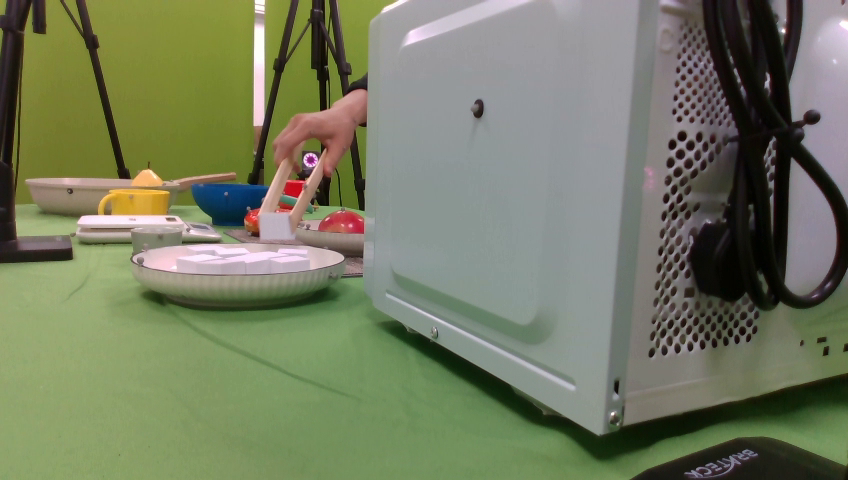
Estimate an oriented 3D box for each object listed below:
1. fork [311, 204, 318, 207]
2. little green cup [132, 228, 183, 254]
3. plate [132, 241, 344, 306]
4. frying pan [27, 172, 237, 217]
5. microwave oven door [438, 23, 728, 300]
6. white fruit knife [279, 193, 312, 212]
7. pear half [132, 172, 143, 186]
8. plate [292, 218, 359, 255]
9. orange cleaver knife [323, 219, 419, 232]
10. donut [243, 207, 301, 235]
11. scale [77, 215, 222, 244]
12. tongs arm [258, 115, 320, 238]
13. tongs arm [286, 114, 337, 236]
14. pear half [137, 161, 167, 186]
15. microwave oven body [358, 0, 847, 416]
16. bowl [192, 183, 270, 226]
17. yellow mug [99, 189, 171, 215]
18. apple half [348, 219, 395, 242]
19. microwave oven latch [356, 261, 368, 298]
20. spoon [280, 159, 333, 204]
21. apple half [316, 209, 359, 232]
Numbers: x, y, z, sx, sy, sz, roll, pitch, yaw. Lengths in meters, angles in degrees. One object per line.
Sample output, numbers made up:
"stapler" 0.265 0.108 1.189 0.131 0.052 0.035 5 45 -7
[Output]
"fork" -0.356 -0.105 1.526 0.208 0.018 0.028 16 -5 -41
"little green cup" -0.342 0.006 0.779 0.061 0.038 0.061 2 8 0
"plate" -0.187 0.033 0.625 0.208 0.039 0.207 2 7 0
"frying pan" -0.624 -0.118 1.387 0.305 0.102 0.490 8 17 32
"microwave oven door" 0.181 -0.073 0.621 0.358 0.243 0.039 -2 8 -29
"white fruit knife" -0.364 -0.105 1.464 0.208 0.027 0.016 15 0 -34
"pear half" -0.638 -0.113 1.361 0.031 0.088 0.070 5 10 4
"plate" -0.098 -0.007 0.928 0.209 0.038 0.209 2 8 0
"orange cleaver knife" -0.097 -0.027 1.152 0.077 0.012 0.212 1 6 41
"donut" -0.262 -0.032 1.043 0.099 0.048 0.099 5 9 0
"scale" -0.434 -0.019 0.963 0.202 0.031 0.148 -1 9 -27
"tongs arm" -0.186 -0.104 0.851 0.028 0.028 0.386 -10 29 4
"tongs arm" -0.164 -0.107 0.850 0.051 0.026 0.384 -5 29 6
"pear half" -0.602 -0.120 1.354 0.056 0.110 0.076 4 11 6
"microwave oven body" 0.211 -0.047 0.475 0.444 0.260 0.324 -1 7 -28
"bowl" -0.382 -0.071 1.202 0.151 0.077 0.151 3 7 0
"yellow mug" -0.519 -0.055 1.080 0.099 0.064 0.131 7 9 26
"apple half" -0.084 -0.018 0.967 0.081 0.033 0.081 5 10 0
"microwave oven latch" -0.019 0.033 0.530 0.079 0.029 0.030 -1 7 -26
"spoon" -0.317 -0.159 1.640 0.194 0.022 0.041 -49 32 -20
"apple half" -0.122 -0.020 0.901 0.080 0.053 0.075 5 11 20
